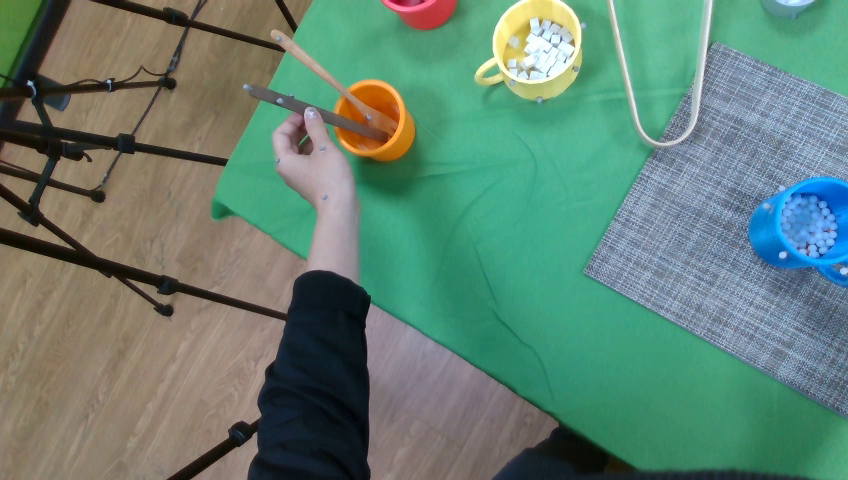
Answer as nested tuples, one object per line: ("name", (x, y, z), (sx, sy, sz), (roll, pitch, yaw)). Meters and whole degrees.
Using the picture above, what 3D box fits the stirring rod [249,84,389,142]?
("stirring rod", (-0.115, -0.144, 0.695), (0.006, 0.177, 0.014), (3, 82, 54))

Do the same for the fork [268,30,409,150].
("fork", (-0.098, -0.177, 0.723), (0.209, 0.018, 0.028), (37, 96, -30))

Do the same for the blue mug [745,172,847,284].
("blue mug", (0.390, -0.005, 0.608), (0.082, 0.106, 0.116), (-36, 79, 10))

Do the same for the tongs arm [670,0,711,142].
("tongs arm", (0.304, -0.302, 0.668), (0.028, 0.028, 0.388), (4, 95, 7))

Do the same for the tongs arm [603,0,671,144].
("tongs arm", (0.222, -0.296, 0.685), (0.050, 0.026, 0.384), (-10, 92, 10))

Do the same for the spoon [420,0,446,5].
("spoon", (-0.054, -0.321, 0.723), (0.195, 0.021, 0.041), (5, 86, -29))

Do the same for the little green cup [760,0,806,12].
("little green cup", (0.396, -0.281, 0.660), (0.061, 0.039, 0.061), (-1, 88, 15))

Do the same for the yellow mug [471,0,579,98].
("yellow mug", (0.116, -0.219, 0.714), (0.131, 0.064, 0.099), (-24, 82, 13))
